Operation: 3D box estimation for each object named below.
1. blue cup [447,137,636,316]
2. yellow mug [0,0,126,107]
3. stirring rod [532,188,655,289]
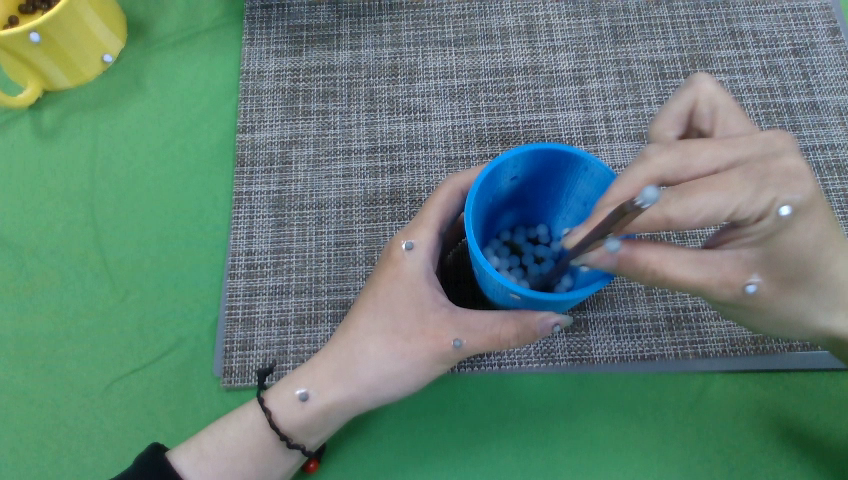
[{"bbox_3d":[0.063,0.003,0.345,0.092,0.101,0.092,-1,71,2],"label":"blue cup"},{"bbox_3d":[-0.287,-0.158,0.439,0.100,0.064,0.130,8,71,5],"label":"yellow mug"},{"bbox_3d":[0.070,0.008,0.289,0.014,0.177,0.006,-27,78,-9],"label":"stirring rod"}]
